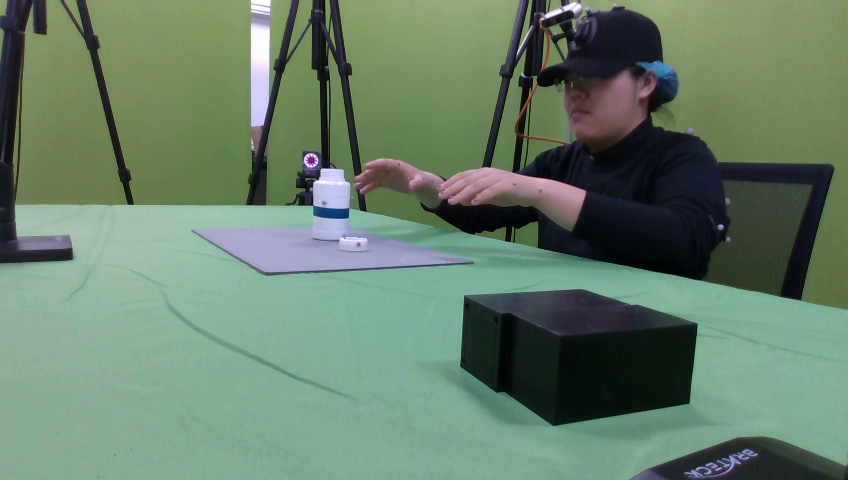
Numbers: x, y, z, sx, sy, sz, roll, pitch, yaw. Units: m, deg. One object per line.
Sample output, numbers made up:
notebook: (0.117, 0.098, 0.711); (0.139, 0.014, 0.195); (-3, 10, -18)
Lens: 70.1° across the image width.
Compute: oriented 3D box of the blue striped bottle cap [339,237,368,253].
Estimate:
blue striped bottle cap: (-0.107, 0.007, 0.920); (0.044, 0.020, 0.044); (1, 7, 0)

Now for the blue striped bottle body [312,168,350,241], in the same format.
blue striped bottle body: (-0.157, -0.062, 1.025); (0.063, 0.120, 0.063); (3, 7, 0)
